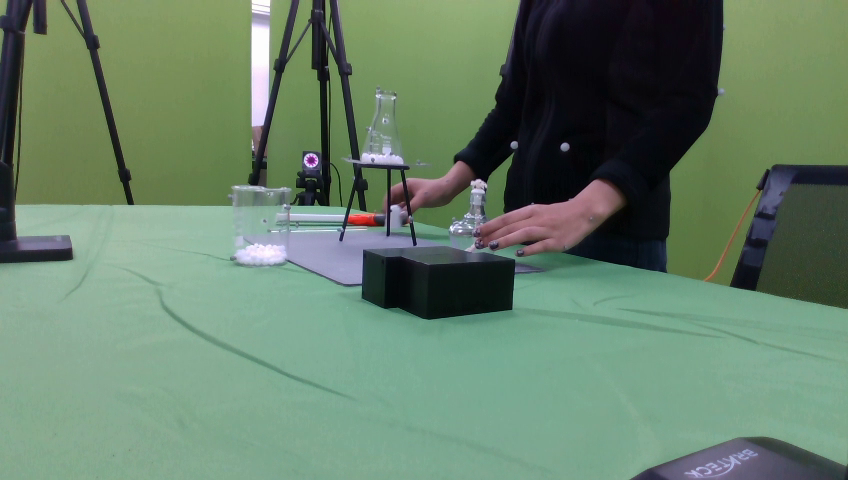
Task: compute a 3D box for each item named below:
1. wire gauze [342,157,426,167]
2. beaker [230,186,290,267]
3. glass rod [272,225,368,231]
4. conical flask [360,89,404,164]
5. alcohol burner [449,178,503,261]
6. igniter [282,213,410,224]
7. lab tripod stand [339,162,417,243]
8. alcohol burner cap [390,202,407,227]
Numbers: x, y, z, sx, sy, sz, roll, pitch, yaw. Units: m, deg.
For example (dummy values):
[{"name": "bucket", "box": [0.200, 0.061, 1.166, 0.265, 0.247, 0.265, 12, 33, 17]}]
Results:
[{"name": "wire gauze", "box": [-0.065, -0.130, 1.016, 0.122, 0.011, 0.124, 2, 5, -27]}, {"name": "beaker", "box": [-0.209, -0.019, 0.778, 0.074, 0.100, 0.084, 3, 6, 4]}, {"name": "glass rod", "box": [-0.197, -0.024, 1.170, 0.201, 0.008, 0.008, -3, 9, -34]}, {"name": "conical flask", "box": [-0.067, -0.189, 1.010, 0.075, 0.122, 0.075, 4, 6, 0]}, {"name": "alcohol burner", "box": [0.076, -0.029, 0.867, 0.078, 0.119, 0.078, 4, 7, 0]}, {"name": "igniter", "box": [-0.159, -0.046, 1.287, 0.278, 0.025, 0.057, -1, -3, -21]}, {"name": "lab tripod stand", "box": [-0.067, -0.065, 1.027, 0.148, 0.131, 0.148, 4, 7, 0]}, {"name": "alcohol burner cap", "box": [-0.052, -0.048, 1.148, 0.034, 0.048, 0.034, -11, -7, -1]}]
